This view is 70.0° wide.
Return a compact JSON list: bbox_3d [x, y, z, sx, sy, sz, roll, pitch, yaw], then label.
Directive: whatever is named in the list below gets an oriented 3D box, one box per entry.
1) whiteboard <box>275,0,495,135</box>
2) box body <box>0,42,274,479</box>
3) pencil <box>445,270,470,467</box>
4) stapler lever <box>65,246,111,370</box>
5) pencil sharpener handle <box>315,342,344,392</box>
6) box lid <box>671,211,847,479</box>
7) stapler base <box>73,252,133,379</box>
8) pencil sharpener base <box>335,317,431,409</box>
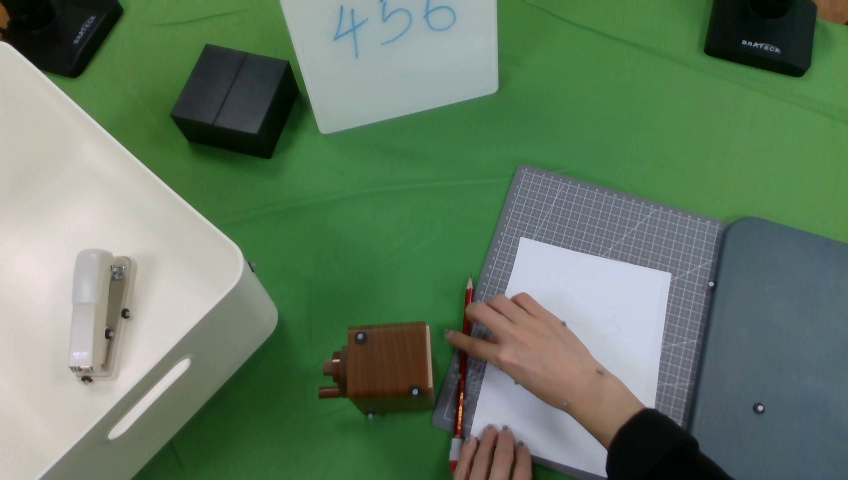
[{"bbox_3d":[-0.053,-0.298,0.637,0.217,0.308,0.142,-14,48,-4],"label":"whiteboard"},{"bbox_3d":[-0.348,0.029,0.551,0.362,0.161,0.253,38,73,15],"label":"box body"},{"bbox_3d":[0.035,0.119,0.590,0.012,0.012,0.192,6,67,4],"label":"pencil"},{"bbox_3d":[-0.323,0.063,0.578,0.027,0.040,0.117,-2,70,2],"label":"stapler lever"},{"bbox_3d":[-0.085,0.116,0.528,0.030,0.068,0.035,-4,51,0],"label":"pencil sharpener handle"},{"bbox_3d":[0.383,0.160,0.569,0.263,0.015,0.369,17,69,7],"label":"box lid"},{"bbox_3d":[-0.323,0.071,0.603,0.041,0.024,0.129,-2,70,2],"label":"stapler base"},{"bbox_3d":[-0.034,0.113,0.542,0.077,0.108,0.061,-4,68,0],"label":"pencil sharpener base"}]
